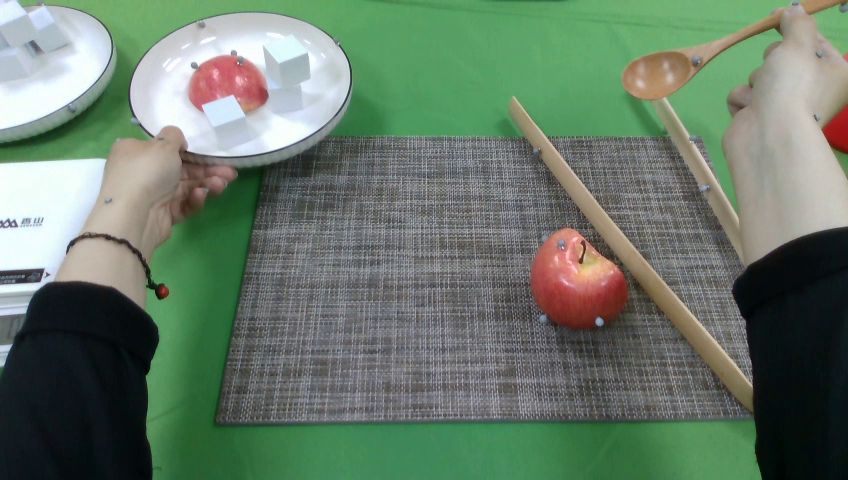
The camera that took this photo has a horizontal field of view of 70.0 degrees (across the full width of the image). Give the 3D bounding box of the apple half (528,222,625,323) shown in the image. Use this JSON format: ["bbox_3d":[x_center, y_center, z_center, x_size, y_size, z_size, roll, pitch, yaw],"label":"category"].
[{"bbox_3d":[0.114,0.034,0.489,0.053,0.075,0.080,-34,66,-17],"label":"apple half"}]

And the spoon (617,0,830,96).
[{"bbox_3d":[0.245,-0.160,0.463,0.193,0.022,0.041,-22,68,20],"label":"spoon"}]

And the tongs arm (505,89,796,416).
[{"bbox_3d":[0.177,-0.010,0.547,0.028,0.028,0.383,-20,59,-19],"label":"tongs arm"}]

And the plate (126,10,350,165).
[{"bbox_3d":[-0.175,-0.148,0.593,0.209,0.038,0.207,2,55,-2],"label":"plate"}]

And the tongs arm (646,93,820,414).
[{"bbox_3d":[0.256,-0.031,0.562,0.051,0.027,0.380,-10,57,-9],"label":"tongs arm"}]

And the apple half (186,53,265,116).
[{"bbox_3d":[-0.195,-0.159,0.594,0.081,0.033,0.080,1,54,-1],"label":"apple half"}]

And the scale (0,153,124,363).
[{"bbox_3d":[-0.350,0.009,0.523,0.149,0.032,0.199,-4,56,-4],"label":"scale"}]

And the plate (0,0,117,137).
[{"bbox_3d":[-0.433,-0.181,0.647,0.208,0.039,0.205,1,56,-1],"label":"plate"}]
